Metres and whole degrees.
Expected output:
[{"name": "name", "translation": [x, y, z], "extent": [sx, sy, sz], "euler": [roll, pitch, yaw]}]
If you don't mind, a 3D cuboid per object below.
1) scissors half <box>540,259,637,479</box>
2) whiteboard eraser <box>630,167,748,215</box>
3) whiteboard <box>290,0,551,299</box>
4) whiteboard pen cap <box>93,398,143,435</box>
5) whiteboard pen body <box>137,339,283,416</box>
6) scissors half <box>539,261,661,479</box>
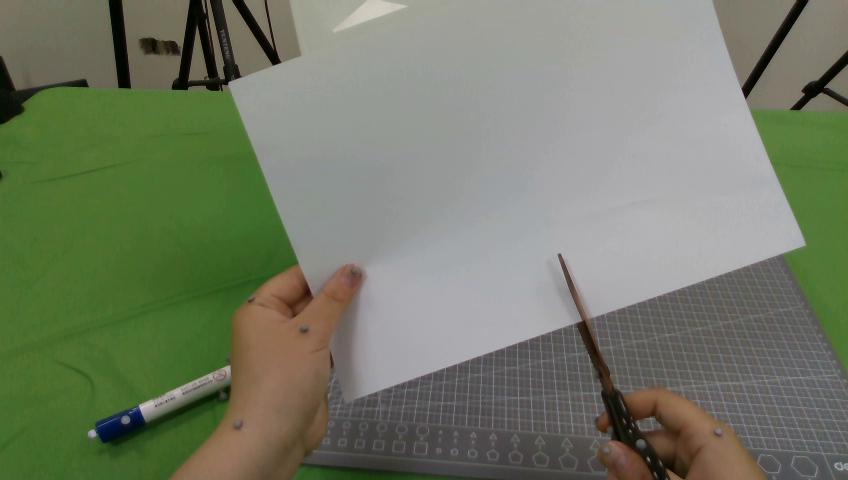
[{"name": "scissors half", "translation": [0.109, 0.091, 0.372], "extent": [0.013, 0.175, 0.040], "euler": [-25, -3, 5]}, {"name": "whiteboard eraser", "translation": [0.291, -0.054, 0.670], "extent": [0.113, 0.042, 0.055], "euler": [2, 41, 1]}, {"name": "whiteboard", "translation": [-0.013, -0.131, 0.606], "extent": [0.218, 0.307, 0.142], "euler": [-15, 21, -17]}, {"name": "whiteboard pen cap", "translation": [-0.228, 0.131, 0.454], "extent": [0.033, 0.018, 0.018], "euler": [-24, 44, -27]}, {"name": "whiteboard pen body", "translation": [-0.179, 0.112, 0.480], "extent": [0.141, 0.017, 0.017], "euler": [-22, 44, -27]}, {"name": "scissors half", "translation": [0.104, 0.086, 0.352], "extent": [0.013, 0.040, 0.173], "euler": [-27, 62, 9]}]
